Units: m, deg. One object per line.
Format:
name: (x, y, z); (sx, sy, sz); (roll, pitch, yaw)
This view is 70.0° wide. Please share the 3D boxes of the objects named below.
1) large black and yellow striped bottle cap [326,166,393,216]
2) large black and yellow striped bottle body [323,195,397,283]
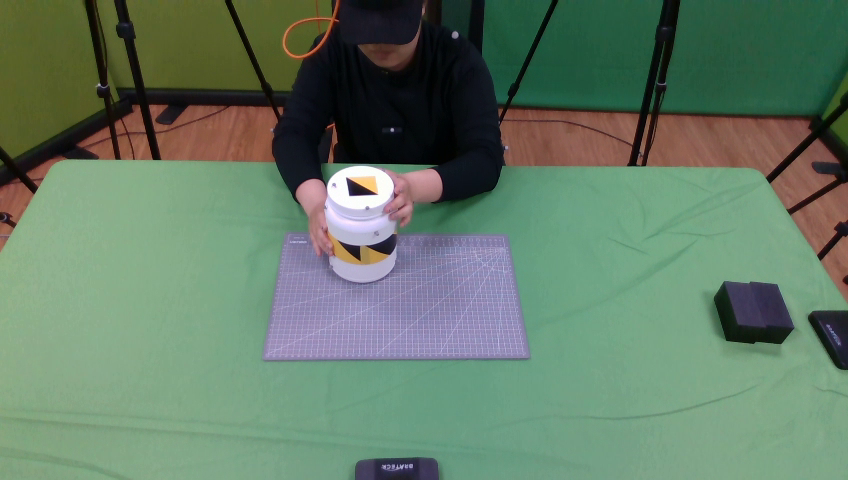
large black and yellow striped bottle cap: (-0.110, -0.085, 1.038); (0.115, 0.019, 0.114); (3, 45, -3)
large black and yellow striped bottle body: (-0.114, -0.026, 1.099); (0.131, 0.185, 0.130); (2, 46, -2)
